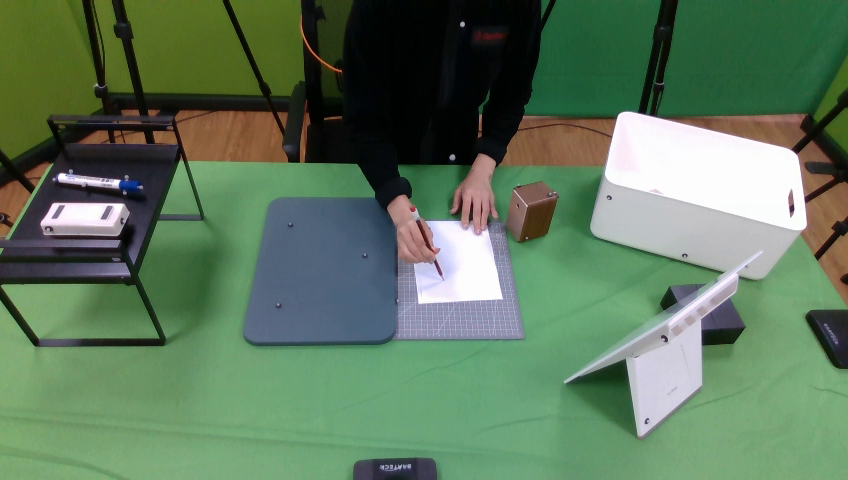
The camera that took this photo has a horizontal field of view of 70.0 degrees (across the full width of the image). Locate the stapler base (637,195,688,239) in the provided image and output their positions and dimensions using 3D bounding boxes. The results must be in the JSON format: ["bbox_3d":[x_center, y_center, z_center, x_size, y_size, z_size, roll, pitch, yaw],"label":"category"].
[{"bbox_3d":[0.507,-0.055,1.280,0.041,0.024,0.129,-14,47,-19],"label":"stapler base"}]

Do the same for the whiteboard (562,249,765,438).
[{"bbox_3d":[0.386,0.175,0.905,0.217,0.306,0.143,-26,72,-26],"label":"whiteboard"}]

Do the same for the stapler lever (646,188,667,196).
[{"bbox_3d":[0.507,-0.075,1.262,0.027,0.040,0.117,-14,46,-19],"label":"stapler lever"}]

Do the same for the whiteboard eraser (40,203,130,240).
[{"bbox_3d":[-0.513,-0.028,0.922,0.113,0.042,0.055,1,48,-3],"label":"whiteboard eraser"}]

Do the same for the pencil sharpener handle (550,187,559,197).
[{"bbox_3d":[0.261,-0.084,1.221,0.031,0.068,0.036,-16,65,-19],"label":"pencil sharpener handle"}]

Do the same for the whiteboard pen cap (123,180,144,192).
[{"bbox_3d":[-0.479,-0.089,0.993,0.033,0.018,0.018,7,46,14],"label":"whiteboard pen cap"}]

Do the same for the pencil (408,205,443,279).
[{"bbox_3d":[0.006,0.009,1.072,0.012,0.195,0.012,-12,44,12],"label":"pencil"}]

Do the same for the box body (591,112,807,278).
[{"bbox_3d":[0.540,-0.092,1.229,0.363,0.161,0.253,16,47,11],"label":"box body"}]

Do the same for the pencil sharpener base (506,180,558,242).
[{"bbox_3d":[0.216,-0.058,1.211,0.077,0.107,0.061,-16,49,-19],"label":"pencil sharpener base"}]

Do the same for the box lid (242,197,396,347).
[{"bbox_3d":[-0.186,0.046,1.147,0.263,0.015,0.369,0,46,-3],"label":"box lid"}]

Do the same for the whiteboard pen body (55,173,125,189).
[{"bbox_3d":[-0.539,-0.095,0.998,0.141,0.017,0.017,6,46,6],"label":"whiteboard pen body"}]
